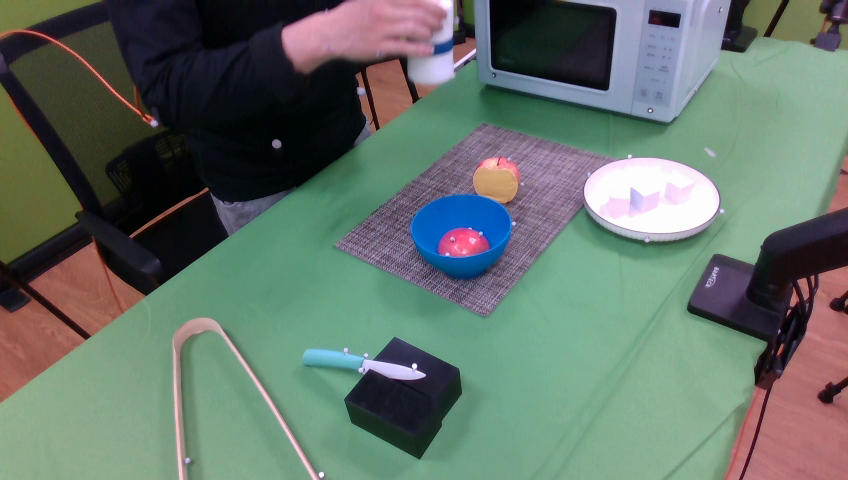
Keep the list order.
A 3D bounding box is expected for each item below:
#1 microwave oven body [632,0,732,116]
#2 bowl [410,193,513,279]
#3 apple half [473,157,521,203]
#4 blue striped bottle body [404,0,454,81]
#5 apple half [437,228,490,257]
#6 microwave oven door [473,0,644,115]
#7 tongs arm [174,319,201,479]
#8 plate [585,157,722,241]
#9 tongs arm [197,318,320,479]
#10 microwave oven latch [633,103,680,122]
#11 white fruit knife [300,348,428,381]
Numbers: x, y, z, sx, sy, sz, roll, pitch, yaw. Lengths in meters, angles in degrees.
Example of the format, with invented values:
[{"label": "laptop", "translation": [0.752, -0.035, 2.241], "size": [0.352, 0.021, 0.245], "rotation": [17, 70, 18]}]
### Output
[{"label": "microwave oven body", "translation": [0.377, -0.463, 1.267], "size": [0.438, 0.261, 0.327], "rotation": [21, 49, 30]}, {"label": "bowl", "translation": [0.058, 0.005, 0.905], "size": [0.151, 0.077, 0.150], "rotation": [-4, 40, 4]}, {"label": "apple half", "translation": [0.127, -0.106, 1.030], "size": [0.080, 0.075, 0.053], "rotation": [4, 38, 19]}, {"label": "blue striped bottle body", "translation": [0.007, -0.272, 0.775], "size": [0.063, 0.121, 0.063], "rotation": [-1, 39, 1]}, {"label": "apple half", "translation": [0.056, 0.002, 0.901], "size": [0.081, 0.033, 0.081], "rotation": [-3, 41, 3]}, {"label": "microwave oven door", "translation": [0.257, -0.396, 1.199], "size": [0.353, 0.245, 0.039], "rotation": [21, 48, 29]}, {"label": "tongs arm", "translation": [-0.272, 0.234, 0.723], "size": [0.051, 0.026, 0.381], "rotation": [-19, 40, -14]}, {"label": "plate", "translation": [0.367, -0.063, 0.979], "size": [0.207, 0.039, 0.206], "rotation": [-4, 40, 4]}, {"label": "tongs arm", "translation": [-0.199, 0.207, 0.750], "size": [0.028, 0.028, 0.384], "rotation": [-31, 45, -22]}, {"label": "microwave oven latch", "translation": [0.443, -0.249, 1.158], "size": [0.078, 0.029, 0.030], "rotation": [21, 48, 30]}, {"label": "white fruit knife", "translation": [-0.080, 0.154, 0.748], "size": [0.206, 0.027, 0.016], "rotation": [1, 20, 34]}]
